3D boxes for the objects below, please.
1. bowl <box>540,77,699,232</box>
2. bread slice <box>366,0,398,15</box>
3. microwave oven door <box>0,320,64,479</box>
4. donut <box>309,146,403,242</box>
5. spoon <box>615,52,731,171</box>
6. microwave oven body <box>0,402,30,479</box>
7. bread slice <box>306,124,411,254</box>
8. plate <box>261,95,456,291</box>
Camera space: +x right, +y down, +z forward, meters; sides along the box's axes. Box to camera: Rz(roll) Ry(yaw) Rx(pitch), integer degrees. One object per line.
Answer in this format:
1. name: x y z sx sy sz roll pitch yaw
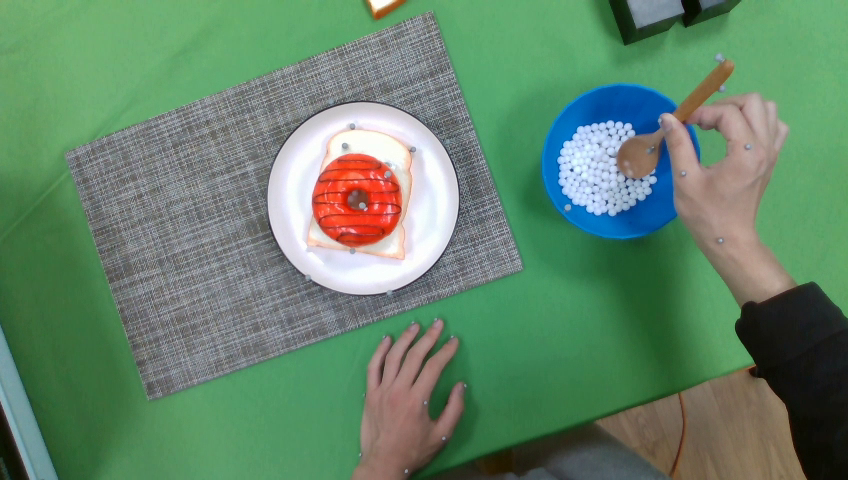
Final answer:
1. bowl: 0.190 -0.081 0.619 0.151 0.077 0.151 0 90 3
2. bread slice: -0.048 -0.329 0.663 0.105 0.019 0.131 -34 90 3
3. microwave oven door: -0.484 0.147 0.570 0.039 0.244 0.355 -22 89 4
4. donut: -0.070 -0.047 0.626 0.099 0.048 0.099 0 91 5
5. spoon: 0.216 -0.107 0.537 0.021 0.194 0.041 -36 81 -10
6. microwave oven body: -0.634 0.162 0.585 0.326 0.260 0.441 -22 90 3
7. bread slice: -0.068 -0.056 0.654 0.107 0.018 0.134 5 91 3
8. plate: -0.068 -0.049 0.654 0.207 0.039 0.207 0 91 4
